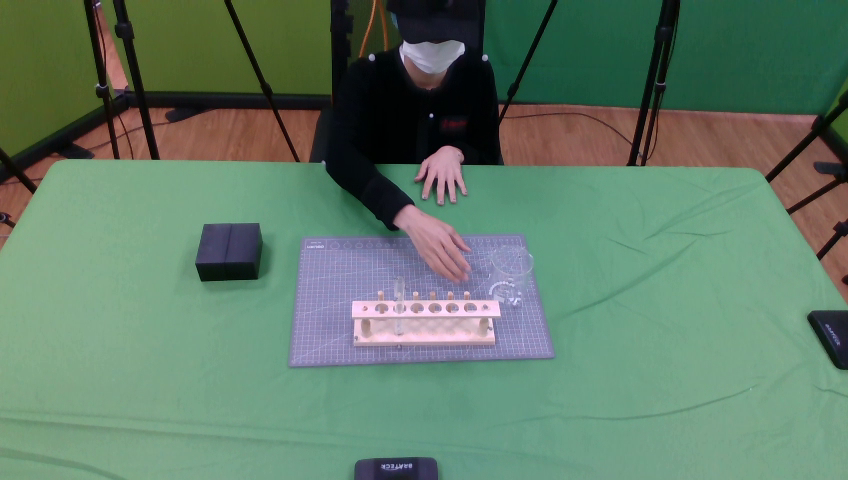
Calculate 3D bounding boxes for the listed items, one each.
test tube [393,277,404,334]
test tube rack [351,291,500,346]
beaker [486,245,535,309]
[{"bbox_3d":[-0.041,0.108,0.973,0.017,0.151,0.017,2,50,-2],"label":"test tube"},{"bbox_3d":[0.001,0.129,1.026,0.242,0.085,0.066,0,46,-4],"label":"test tube rack"},{"bbox_3d":[0.149,0.068,1.087,0.084,0.101,0.073,13,46,9],"label":"beaker"}]
